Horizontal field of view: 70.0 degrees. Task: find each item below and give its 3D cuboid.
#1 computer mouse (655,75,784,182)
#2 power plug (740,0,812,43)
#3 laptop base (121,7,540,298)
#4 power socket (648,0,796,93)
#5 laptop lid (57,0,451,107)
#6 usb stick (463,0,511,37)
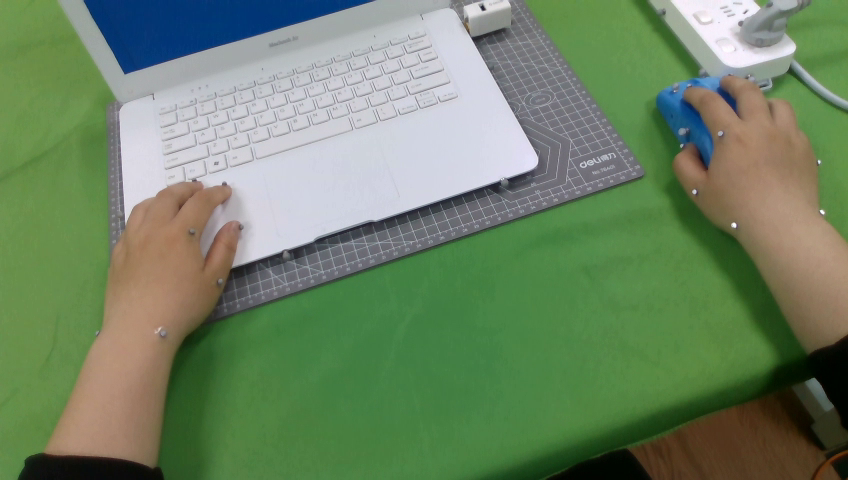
[{"bbox_3d":[0.245,-0.101,0.507,0.063,0.041,0.116,-15,51,0],"label":"computer mouse"},{"bbox_3d":[0.318,-0.191,0.535,0.072,0.053,0.035,-7,58,4],"label":"power plug"},{"bbox_3d":[-0.099,-0.095,0.562,0.354,0.023,0.233,-19,59,-5],"label":"laptop base"},{"bbox_3d":[0.273,-0.231,0.593,0.072,0.033,0.224,-15,56,-2],"label":"power socket"},{"bbox_3d":[-0.158,-0.269,0.545,0.357,0.244,0.013,-20,43,-4],"label":"laptop lid"},{"bbox_3d":[0.057,-0.224,0.611,0.059,0.027,0.021,-19,57,-1],"label":"usb stick"}]
